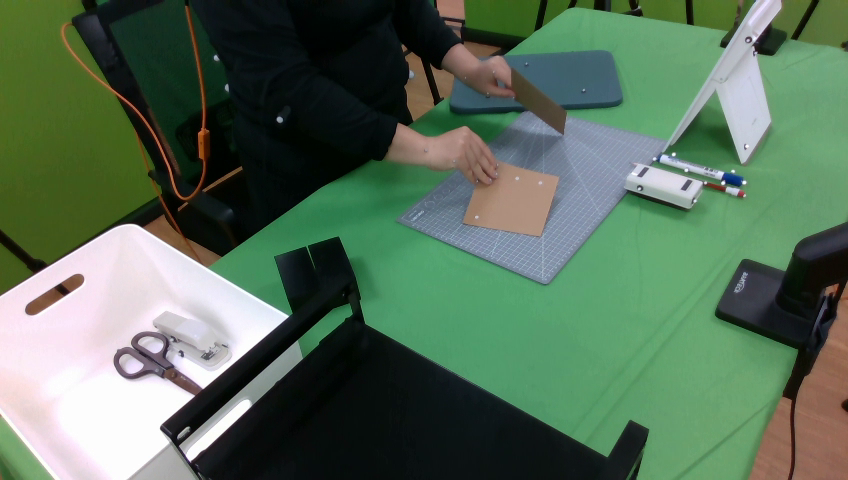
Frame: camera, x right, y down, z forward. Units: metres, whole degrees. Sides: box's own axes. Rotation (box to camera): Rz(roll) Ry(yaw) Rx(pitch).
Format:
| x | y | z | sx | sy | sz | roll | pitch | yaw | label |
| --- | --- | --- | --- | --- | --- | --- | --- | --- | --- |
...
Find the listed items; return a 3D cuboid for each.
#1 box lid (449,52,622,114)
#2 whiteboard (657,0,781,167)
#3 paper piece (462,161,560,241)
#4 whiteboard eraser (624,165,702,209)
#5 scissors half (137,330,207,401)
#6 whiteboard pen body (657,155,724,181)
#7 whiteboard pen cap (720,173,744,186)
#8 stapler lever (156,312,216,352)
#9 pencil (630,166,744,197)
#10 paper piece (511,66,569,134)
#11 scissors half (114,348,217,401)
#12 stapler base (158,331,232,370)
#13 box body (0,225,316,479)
| x | y | z | sx | sy | sz | roll | pitch | yaw | label |
| --- | --- | --- | --- | --- | --- | --- | --- | --- | --- |
| 0.250 | -0.358 | 1.370 | 0.371 | 0.015 | 0.262 | -1 | 41 | 9 | box lid |
| 0.571 | -0.272 | 1.038 | 0.143 | 0.306 | 0.218 | 37 | 54 | 17 | whiteboard |
| 0.149 | -0.069 | 1.019 | 0.137 | 0.009 | 0.136 | 15 | 60 | 15 | paper piece |
| 0.396 | -0.086 | 1.003 | 0.112 | 0.042 | 0.056 | 22 | 47 | 31 | whiteboard eraser |
| -0.336 | 0.172 | 0.822 | 0.174 | 0.013 | 0.040 | 34 | 56 | 31 | scissors half |
| 0.475 | -0.122 | 1.051 | 0.139 | 0.017 | 0.017 | 24 | 49 | 32 | whiteboard pen body |
| 0.519 | -0.102 | 1.020 | 0.033 | 0.018 | 0.018 | 23 | 49 | 31 | whiteboard pen cap |
| -0.331 | 0.121 | 0.835 | 0.117 | 0.040 | 0.027 | 16 | 41 | 33 | stapler lever |
| 0.447 | -0.103 | 1.038 | 0.192 | 0.012 | 0.012 | 21 | 48 | 30 | pencil |
| 0.216 | -0.259 | 1.133 | 0.135 | 0.136 | 0.004 | 41 | 90 | 13 | paper piece |
| -0.348 | 0.185 | 0.811 | 0.174 | 0.013 | 0.040 | 15 | 53 | 18 | scissors half |
| -0.325 | 0.142 | 0.849 | 0.129 | 0.024 | 0.041 | 17 | 41 | 33 | stapler base |
| -0.339 | 0.162 | 0.728 | 0.361 | 0.161 | 0.255 | 23 | 48 | 31 | box body |
